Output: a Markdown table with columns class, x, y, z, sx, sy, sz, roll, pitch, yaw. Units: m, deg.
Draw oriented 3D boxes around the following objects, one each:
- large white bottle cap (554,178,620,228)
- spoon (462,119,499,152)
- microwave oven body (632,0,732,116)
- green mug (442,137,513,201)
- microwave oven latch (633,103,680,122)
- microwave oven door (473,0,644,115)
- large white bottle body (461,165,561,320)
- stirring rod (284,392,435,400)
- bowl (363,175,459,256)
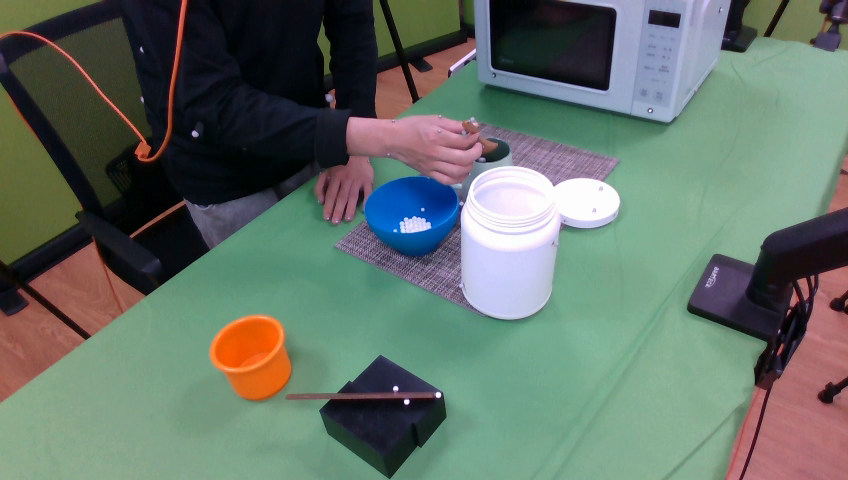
| class | x | y | z | sx | sy | sz | roll | pitch | yaw |
| --- | --- | --- | --- | --- | --- | --- | --- | --- | --- |
| large white bottle cap | 0.265 | -0.063 | 1.001 | 0.115 | 0.018 | 0.114 | -3 | 42 | 3 |
| spoon | 0.077 | -0.151 | 0.874 | 0.041 | 0.194 | 0.021 | -13 | 82 | 15 |
| microwave oven body | 0.377 | -0.463 | 1.267 | 0.438 | 0.261 | 0.327 | 21 | 49 | 30 |
| green mug | 0.091 | -0.108 | 1.012 | 0.125 | 0.105 | 0.092 | 2 | 42 | 12 |
| microwave oven latch | 0.444 | -0.249 | 1.158 | 0.078 | 0.029 | 0.030 | 21 | 49 | 30 |
| microwave oven door | 0.257 | -0.396 | 1.199 | 0.353 | 0.245 | 0.039 | 21 | 48 | 29 |
| large white bottle body | 0.115 | 0.004 | 0.816 | 0.130 | 0.185 | 0.130 | -2 | 43 | 2 |
| stirring rod | -0.075 | 0.180 | 0.698 | 0.176 | 0.006 | 0.014 | -2 | 6 | 6 |
| bowl | -0.016 | -0.029 | 0.955 | 0.151 | 0.077 | 0.150 | -4 | 40 | 4 |
